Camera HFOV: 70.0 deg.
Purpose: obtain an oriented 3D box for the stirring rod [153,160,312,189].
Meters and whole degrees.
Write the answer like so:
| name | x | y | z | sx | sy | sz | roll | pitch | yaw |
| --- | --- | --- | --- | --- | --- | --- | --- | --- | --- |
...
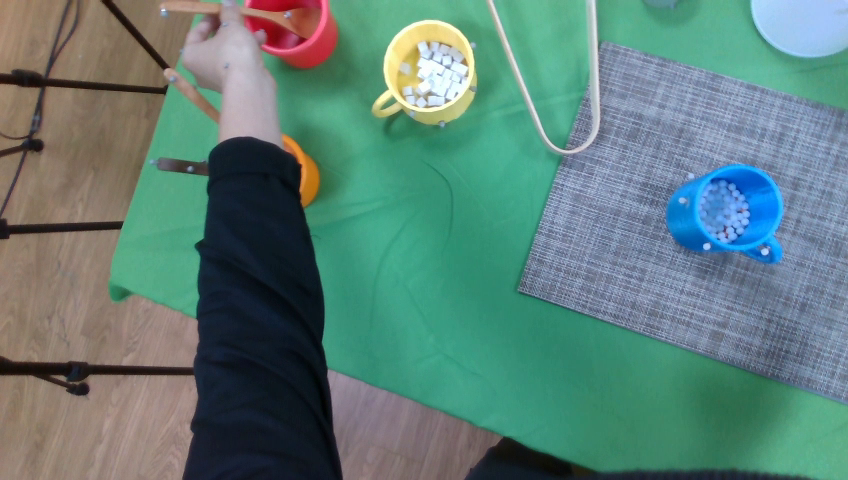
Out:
| name | x | y | z | sx | sy | sz | roll | pitch | yaw |
| --- | --- | --- | --- | --- | --- | --- | --- | --- | --- |
| stirring rod | -0.207 | -0.071 | 0.674 | 0.177 | 0.006 | 0.014 | 3 | 83 | -34 |

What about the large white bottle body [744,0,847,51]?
| name | x | y | z | sx | sy | sz | roll | pitch | yaw |
| --- | --- | --- | --- | --- | --- | --- | --- | --- | --- |
| large white bottle body | 0.404 | -0.272 | 0.578 | 0.130 | 0.185 | 0.130 | 0 | 89 | 7 |

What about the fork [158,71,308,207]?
| name | x | y | z | sx | sy | sz | roll | pitch | yaw |
| --- | --- | --- | --- | --- | --- | --- | --- | --- | --- |
| fork | -0.205 | -0.107 | 0.667 | 0.028 | 0.018 | 0.209 | -44 | 128 | 1 |

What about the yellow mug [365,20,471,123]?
| name | x | y | z | sx | sy | sz | roll | pitch | yaw |
| --- | --- | --- | --- | --- | --- | --- | --- | --- | --- |
| yellow mug | -0.011 | -0.179 | 0.687 | 0.131 | 0.064 | 0.100 | -34 | 86 | 7 |

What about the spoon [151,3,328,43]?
| name | x | y | z | sx | sy | sz | roll | pitch | yaw |
| --- | --- | --- | --- | --- | --- | --- | --- | --- | --- |
| spoon | -0.198 | -0.247 | 0.671 | 0.195 | 0.021 | 0.041 | -6 | 87 | -37 |

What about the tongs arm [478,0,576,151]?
| name | x | y | z | sx | sy | sz | roll | pitch | yaw |
| --- | --- | --- | --- | --- | --- | --- | --- | --- | --- |
| tongs arm | 0.081 | -0.275 | 0.671 | 0.051 | 0.026 | 0.385 | -20 | 94 | 3 |

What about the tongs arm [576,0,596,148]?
| name | x | y | z | sx | sy | sz | roll | pitch | yaw |
| --- | --- | --- | --- | --- | --- | --- | --- | --- | --- |
| tongs arm | 0.162 | -0.297 | 0.665 | 0.028 | 0.027 | 0.388 | -7 | 95 | -1 |

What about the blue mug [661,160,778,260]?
| name | x | y | z | sx | sy | sz | roll | pitch | yaw |
| --- | --- | --- | --- | --- | --- | --- | --- | --- | --- |
| blue mug | 0.311 | -0.022 | 0.623 | 0.116 | 0.106 | 0.082 | 44 | 94 | 6 |

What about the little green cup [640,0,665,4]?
| name | x | y | z | sx | sy | sz | roll | pitch | yaw |
| --- | --- | --- | --- | --- | --- | --- | --- | --- | --- |
| little green cup | 0.257 | -0.294 | 0.669 | 0.061 | 0.038 | 0.061 | 0 | 90 | 7 |
